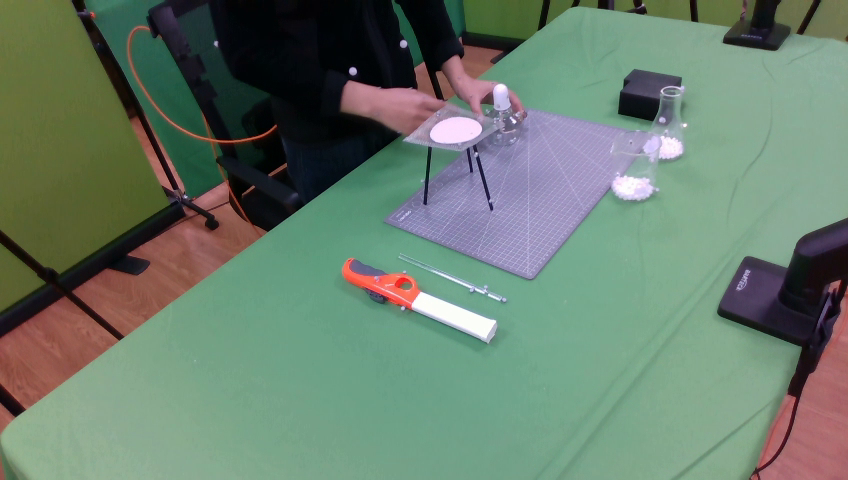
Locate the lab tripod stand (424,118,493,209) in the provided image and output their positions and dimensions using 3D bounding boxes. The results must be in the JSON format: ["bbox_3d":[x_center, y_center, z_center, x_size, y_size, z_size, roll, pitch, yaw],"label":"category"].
[{"bbox_3d":[0.061,-0.133,1.038,0.148,0.132,0.147,-6,39,6],"label":"lab tripod stand"}]

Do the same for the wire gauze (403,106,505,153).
[{"bbox_3d":[0.049,-0.181,0.992,0.120,0.011,0.125,23,48,34],"label":"wire gauze"}]

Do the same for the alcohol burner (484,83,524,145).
[{"bbox_3d":[0.153,-0.246,1.170,0.078,0.120,0.077,-7,39,6],"label":"alcohol burner"}]

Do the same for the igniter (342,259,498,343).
[{"bbox_3d":[-0.017,0.084,0.883,0.274,0.025,0.057,20,59,31],"label":"igniter"}]

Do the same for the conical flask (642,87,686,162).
[{"bbox_3d":[0.429,-0.206,1.068,0.075,0.122,0.075,-6,40,6],"label":"conical flask"}]

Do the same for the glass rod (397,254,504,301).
[{"bbox_3d":[0.036,0.054,0.922,0.198,0.008,0.008,21,49,31],"label":"glass rod"}]

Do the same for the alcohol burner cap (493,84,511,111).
[{"bbox_3d":[0.147,-0.272,1.146,0.034,0.048,0.033,-9,44,9],"label":"alcohol burner cap"}]

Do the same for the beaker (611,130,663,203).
[{"bbox_3d":[0.346,-0.118,0.998,0.084,0.101,0.073,-17,40,-7],"label":"beaker"}]
